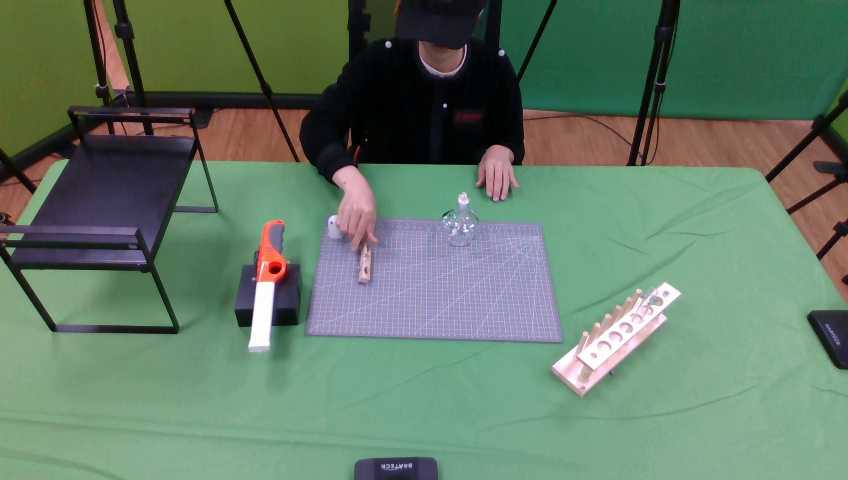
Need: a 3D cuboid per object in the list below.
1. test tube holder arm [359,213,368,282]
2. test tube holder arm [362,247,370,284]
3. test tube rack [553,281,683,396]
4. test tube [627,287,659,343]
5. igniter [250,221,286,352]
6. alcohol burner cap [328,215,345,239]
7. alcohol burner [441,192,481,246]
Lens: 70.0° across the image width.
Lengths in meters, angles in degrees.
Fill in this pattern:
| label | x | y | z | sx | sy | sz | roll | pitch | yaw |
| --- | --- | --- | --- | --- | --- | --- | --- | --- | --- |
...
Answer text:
| label | x | y | z | sx | sy | sz | roll | pitch | yaw |
| --- | --- | --- | --- | --- | --- | --- | --- | --- | --- |
| test tube holder arm | -0.116 | 0.012 | 1.172 | 0.013 | 0.015 | 0.177 | 28 | 37 | -30 |
| test tube holder arm | -0.109 | 0.046 | 1.144 | 0.010 | 0.015 | 0.087 | 29 | 36 | -28 |
| test tube rack | 0.329 | 0.153 | 1.022 | 0.242 | 0.085 | 0.066 | -30 | 54 | -28 |
| test tube | 0.351 | 0.125 | 0.983 | 0.017 | 0.151 | 0.017 | 1 | 49 | -1 |
| igniter | -0.269 | 0.068 | 1.041 | 0.057 | 0.025 | 0.274 | 0 | 48 | -7 |
| alcohol burner cap | -0.172 | -0.028 | 1.192 | 0.034 | 0.048 | 0.033 | 1 | 46 | -1 |
| alcohol burner | 0.073 | -0.046 | 1.176 | 0.078 | 0.119 | 0.077 | 2 | 44 | -2 |
